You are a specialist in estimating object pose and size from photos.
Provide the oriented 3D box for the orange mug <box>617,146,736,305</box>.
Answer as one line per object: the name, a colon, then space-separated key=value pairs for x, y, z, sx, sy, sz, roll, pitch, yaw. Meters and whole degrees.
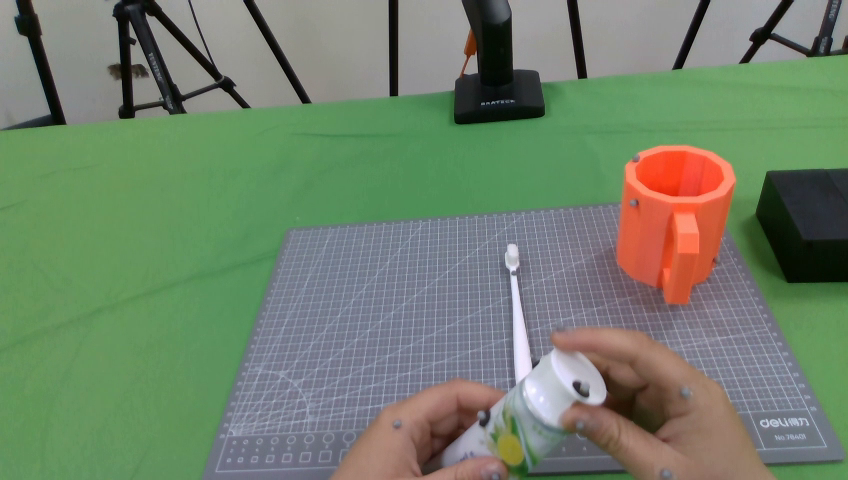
orange mug: x=0.215 y=-0.009 z=0.520 sx=0.083 sy=0.102 sz=0.125 roll=1 pitch=37 yaw=13

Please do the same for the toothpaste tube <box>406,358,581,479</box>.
toothpaste tube: x=0.037 y=0.125 z=0.353 sx=0.035 sy=0.165 sz=0.054 roll=-11 pitch=51 yaw=-50

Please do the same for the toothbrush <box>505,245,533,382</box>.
toothbrush: x=0.082 y=0.068 z=0.517 sx=0.014 sy=0.017 sz=0.180 roll=5 pitch=42 yaw=-1

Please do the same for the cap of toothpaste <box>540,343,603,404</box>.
cap of toothpaste: x=0.075 y=0.070 z=0.312 sx=0.037 sy=0.011 sz=0.037 roll=24 pitch=33 yaw=-17
